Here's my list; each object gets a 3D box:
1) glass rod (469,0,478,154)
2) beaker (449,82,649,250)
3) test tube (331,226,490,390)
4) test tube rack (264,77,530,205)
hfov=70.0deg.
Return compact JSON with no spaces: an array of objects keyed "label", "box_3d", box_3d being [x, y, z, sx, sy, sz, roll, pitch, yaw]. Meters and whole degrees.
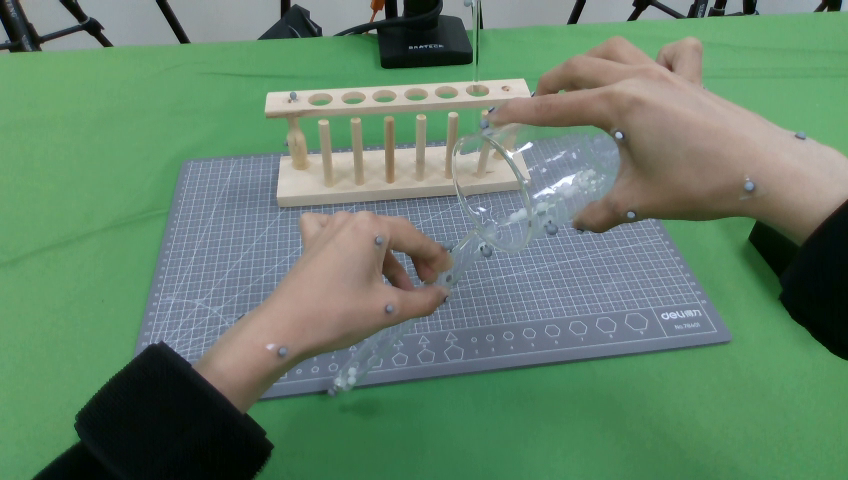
[{"label":"glass rod","box_3d":[0.045,-0.168,0.558,0.008,0.201,0.008,-1,37,1]},{"label":"beaker","box_3d":[0.077,-0.046,0.365,0.100,0.084,0.073,-26,62,-21]},{"label":"test tube","box_3d":[-0.012,0.048,0.399,0.150,0.017,0.017,-47,47,16]},{"label":"test tube rack","box_3d":[-0.022,-0.095,0.577,0.243,0.086,0.066,-4,44,-5]}]
